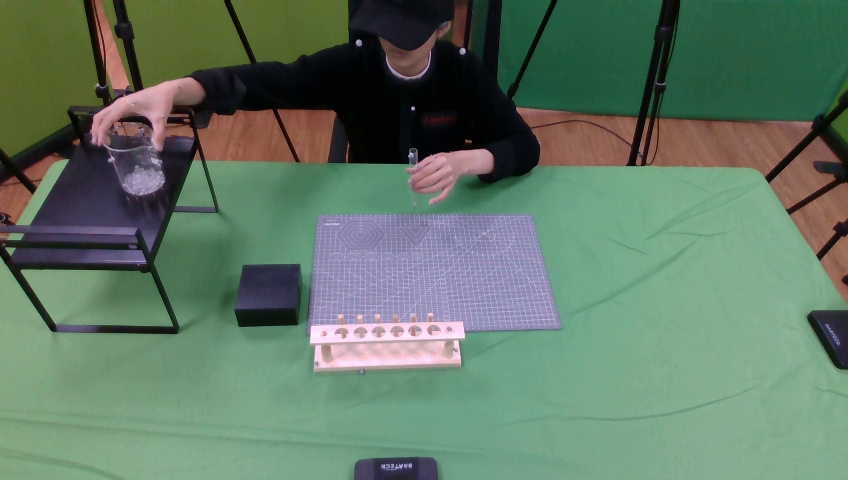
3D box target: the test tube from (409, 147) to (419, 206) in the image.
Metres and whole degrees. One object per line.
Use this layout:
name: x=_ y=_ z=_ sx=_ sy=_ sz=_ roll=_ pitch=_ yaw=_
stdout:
test tube: x=-0.019 y=-0.118 z=1.162 sx=0.017 sy=0.151 sz=0.017 roll=0 pitch=51 yaw=0

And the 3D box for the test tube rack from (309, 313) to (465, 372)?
test tube rack: x=-0.059 y=0.161 z=0.990 sx=0.242 sy=0.085 sz=0.066 roll=-1 pitch=46 yaw=-5

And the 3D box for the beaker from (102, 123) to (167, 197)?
beaker: x=-0.461 y=-0.127 z=0.981 sx=0.084 sy=0.101 sz=0.073 roll=14 pitch=47 yaw=10
